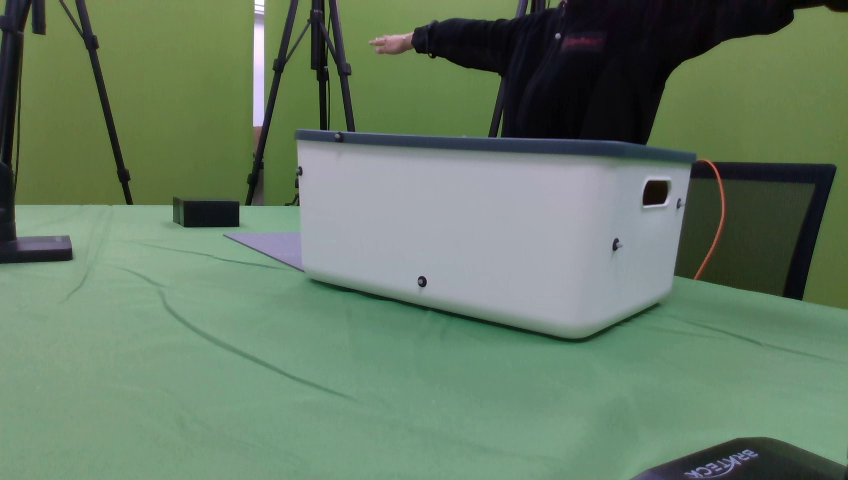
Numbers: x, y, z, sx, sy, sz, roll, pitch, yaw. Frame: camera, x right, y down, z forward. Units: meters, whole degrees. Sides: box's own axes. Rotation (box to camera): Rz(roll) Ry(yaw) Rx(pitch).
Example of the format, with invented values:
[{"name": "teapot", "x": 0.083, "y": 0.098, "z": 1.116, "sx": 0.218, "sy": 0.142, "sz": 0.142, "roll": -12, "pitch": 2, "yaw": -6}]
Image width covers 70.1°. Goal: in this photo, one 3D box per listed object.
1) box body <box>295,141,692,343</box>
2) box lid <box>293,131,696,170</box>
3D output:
[{"name": "box body", "x": 0.065, "y": -0.020, "z": 0.653, "sx": 0.362, "sy": 0.160, "sz": 0.255, "roll": 9, "pitch": 9, "yaw": 37}, {"name": "box lid", "x": 0.069, "y": -0.094, "z": 0.645, "sx": 0.369, "sy": 0.015, "sz": 0.265, "roll": 9, "pitch": 9, "yaw": 37}]
